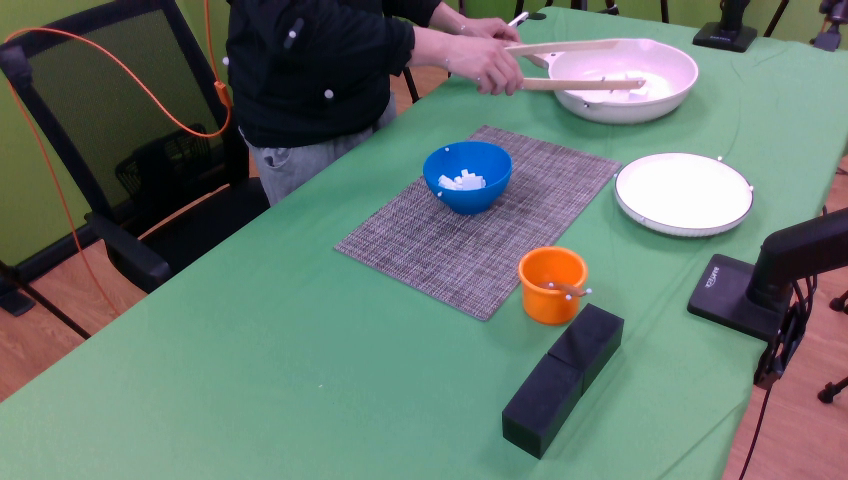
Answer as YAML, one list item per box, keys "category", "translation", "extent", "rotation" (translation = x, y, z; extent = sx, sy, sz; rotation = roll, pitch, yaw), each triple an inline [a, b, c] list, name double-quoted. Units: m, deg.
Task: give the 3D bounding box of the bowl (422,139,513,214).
- category: "bowl"
  translation: [0.075, -0.098, 1.021]
  extent: [0.151, 0.077, 0.150]
  rotation: [-4, 41, 4]

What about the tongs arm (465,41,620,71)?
- category: "tongs arm"
  translation: [0.230, -0.346, 1.117]
  extent: [0.390, 0.027, 0.028]
  rotation: [-16, 72, -32]

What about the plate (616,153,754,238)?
- category: "plate"
  translation: [0.416, -0.069, 0.977]
  extent: [0.207, 0.039, 0.206]
  rotation: [-4, 40, 4]

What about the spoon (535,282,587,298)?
- category: "spoon"
  translation: [0.176, 0.063, 0.774]
  extent: [0.041, 0.194, 0.021]
  rotation: [-2, 85, 0]

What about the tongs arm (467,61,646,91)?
- category: "tongs arm"
  translation: [0.252, -0.295, 1.095]
  extent: [0.387, 0.026, 0.050]
  rotation: [-9, 65, -29]

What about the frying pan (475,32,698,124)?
- category: "frying pan"
  translation: [0.320, -0.371, 1.290]
  extent: [0.485, 0.103, 0.307]
  rotation: [28, 50, 23]
